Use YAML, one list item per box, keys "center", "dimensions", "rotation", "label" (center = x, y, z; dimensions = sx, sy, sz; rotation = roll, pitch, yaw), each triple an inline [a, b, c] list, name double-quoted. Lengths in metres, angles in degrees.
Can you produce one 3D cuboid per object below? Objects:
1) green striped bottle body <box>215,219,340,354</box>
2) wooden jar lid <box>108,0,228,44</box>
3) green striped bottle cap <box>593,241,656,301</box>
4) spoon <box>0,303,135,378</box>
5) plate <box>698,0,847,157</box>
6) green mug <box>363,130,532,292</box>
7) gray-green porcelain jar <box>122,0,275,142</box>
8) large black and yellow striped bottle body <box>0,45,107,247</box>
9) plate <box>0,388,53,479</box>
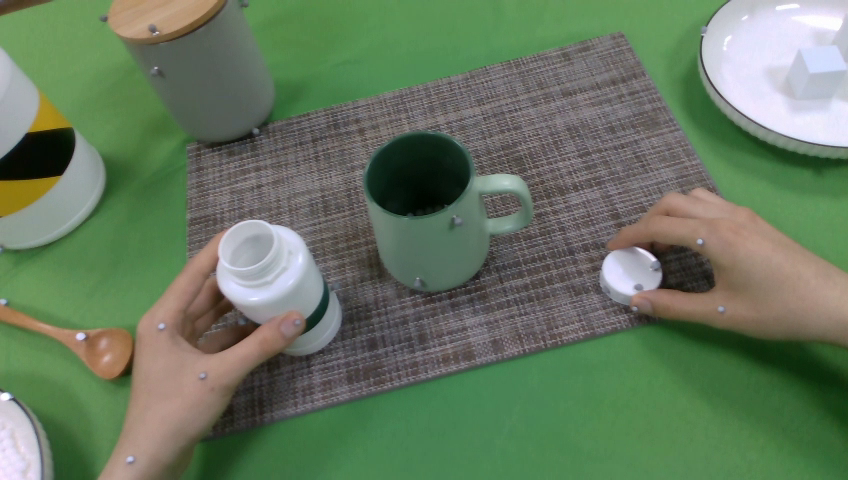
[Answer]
- center: [-0.105, 0.033, 0.436]
  dimensions: [0.063, 0.120, 0.062]
  rotation: [-4, 59, 7]
  label: "green striped bottle body"
- center: [-0.214, -0.201, 0.518]
  dimensions: [0.108, 0.021, 0.107]
  rotation: [-6, 58, 9]
  label: "wooden jar lid"
- center: [0.152, 0.023, 0.462]
  dimensions: [0.044, 0.020, 0.044]
  rotation: [3, 71, -8]
  label: "green striped bottle cap"
- center: [-0.316, 0.072, 0.505]
  dimensions: [0.193, 0.022, 0.041]
  rotation: [14, 80, 16]
  label: "spoon"
- center: [0.349, -0.151, 0.534]
  dimensions: [0.207, 0.039, 0.205]
  rotation: [-4, 59, 7]
  label: "plate"
- center: [0.019, -0.022, 0.460]
  dimensions: [0.125, 0.106, 0.091]
  rotation: [-6, 58, 4]
  label: "green mug"
- center: [-0.205, -0.165, 0.569]
  dimensions: [0.106, 0.128, 0.105]
  rotation: [-4, 54, 6]
  label: "gray-green porcelain jar"
- center: [-0.383, -0.091, 0.519]
  dimensions: [0.130, 0.186, 0.129]
  rotation: [-4, 59, 6]
  label: "large black and yellow striped bottle body"
- center: [-0.358, 0.202, 0.424]
  dimensions: [0.209, 0.038, 0.207]
  rotation: [-3, 58, 6]
  label: "plate"
